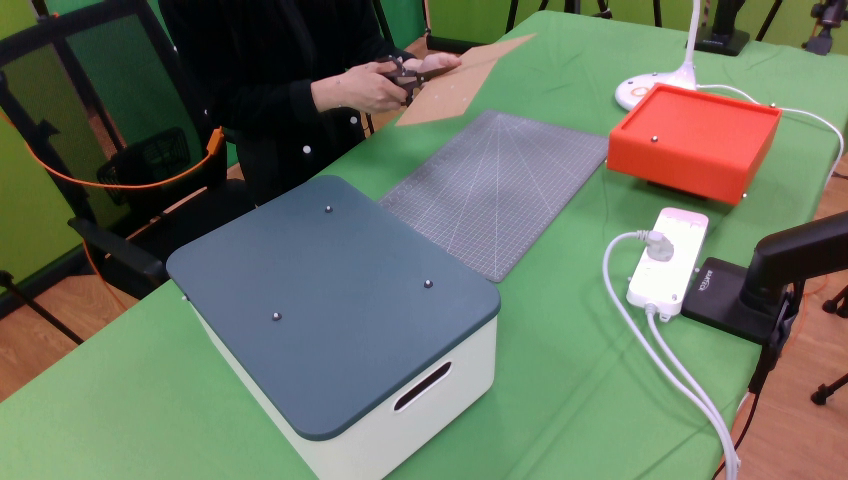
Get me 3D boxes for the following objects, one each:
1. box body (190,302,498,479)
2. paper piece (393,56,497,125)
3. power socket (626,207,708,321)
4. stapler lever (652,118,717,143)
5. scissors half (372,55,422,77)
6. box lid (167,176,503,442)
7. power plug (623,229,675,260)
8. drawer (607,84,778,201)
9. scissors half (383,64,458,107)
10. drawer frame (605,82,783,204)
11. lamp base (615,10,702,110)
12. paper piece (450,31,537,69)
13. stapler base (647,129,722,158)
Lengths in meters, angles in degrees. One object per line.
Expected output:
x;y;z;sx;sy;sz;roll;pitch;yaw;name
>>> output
-0.110;0.103;0.761;0.255;0.161;0.361;-33;46;-27;box body
0.032;-0.226;0.916;0.134;0.004;0.135;-1;46;41;paper piece
0.360;0.026;0.886;0.072;0.033;0.227;16;46;26;power socket
0.436;-0.192;1.014;0.118;0.040;0.026;-15;25;-16;stapler lever
-0.014;-0.281;1.006;0.174;0.040;0.013;18;49;25;scissors half
-0.119;0.047;0.714;0.264;0.015;0.368;-32;47;-27;box lid
0.327;0.007;0.878;0.072;0.053;0.035;25;51;33;power plug
0.438;-0.167;0.995;0.210;0.073;0.195;23;48;30;drawer
-0.006;-0.262;1.017;0.174;0.040;0.013;-16;24;46;scissors half
0.441;-0.167;0.995;0.212;0.083;0.202;23;48;30;drawer frame
0.484;-0.364;1.211;0.180;0.181;0.159;-15;41;-14;lamp base
0.099;-0.308;0.995;0.137;0.009;0.136;-3;26;42;paper piece
0.439;-0.167;1.023;0.131;0.024;0.041;-16;25;-15;stapler base
